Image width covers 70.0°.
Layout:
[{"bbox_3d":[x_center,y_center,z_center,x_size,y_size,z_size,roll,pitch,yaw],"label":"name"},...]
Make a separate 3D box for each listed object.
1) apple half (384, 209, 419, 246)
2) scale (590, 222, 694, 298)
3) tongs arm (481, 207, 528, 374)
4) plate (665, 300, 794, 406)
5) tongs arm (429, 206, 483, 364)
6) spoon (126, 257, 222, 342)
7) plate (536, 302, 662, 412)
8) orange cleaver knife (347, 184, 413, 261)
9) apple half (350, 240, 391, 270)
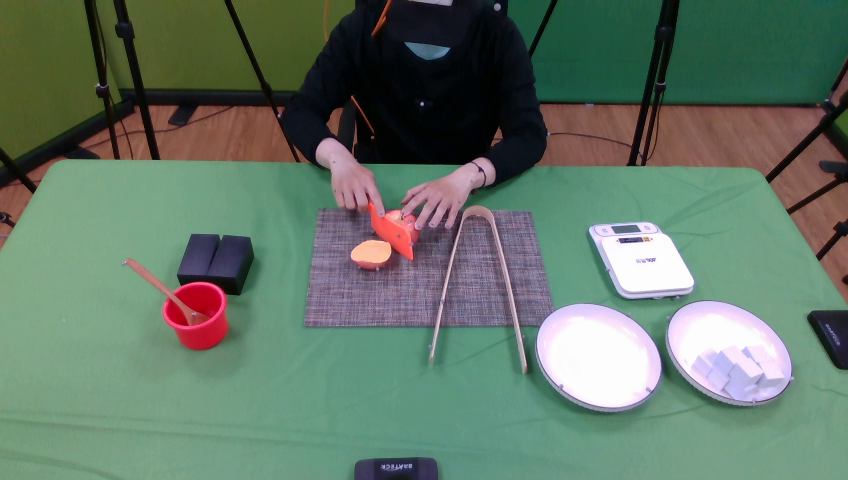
[{"bbox_3d":[-0.039,-0.022,1.175,0.053,0.075,0.080,-27,50,-31],"label":"apple half"},{"bbox_3d":[0.424,0.031,1.189,0.149,0.032,0.199,-3,46,-7],"label":"scale"},{"bbox_3d":[0.149,0.077,1.124,0.028,0.028,0.385,-4,46,-2],"label":"tongs arm"},{"bbox_3d":[0.513,0.194,1.034,0.208,0.039,0.206,2,46,-2],"label":"plate"},{"bbox_3d":[0.064,0.069,1.124,0.051,0.026,0.382,8,45,5],"label":"tongs arm"},{"bbox_3d":[-0.408,0.096,0.990,0.194,0.021,0.041,50,53,-18],"label":"spoon"},{"bbox_3d":[0.288,0.197,1.016,0.209,0.038,0.208,2,46,-2],"label":"plate"},{"bbox_3d":[-0.087,-0.035,1.182,0.012,0.077,0.210,-27,51,-30],"label":"orange cleaver knife"},{"bbox_3d":[-0.097,0.033,1.145,0.081,0.033,0.081,-3,33,3],"label":"apple half"}]
